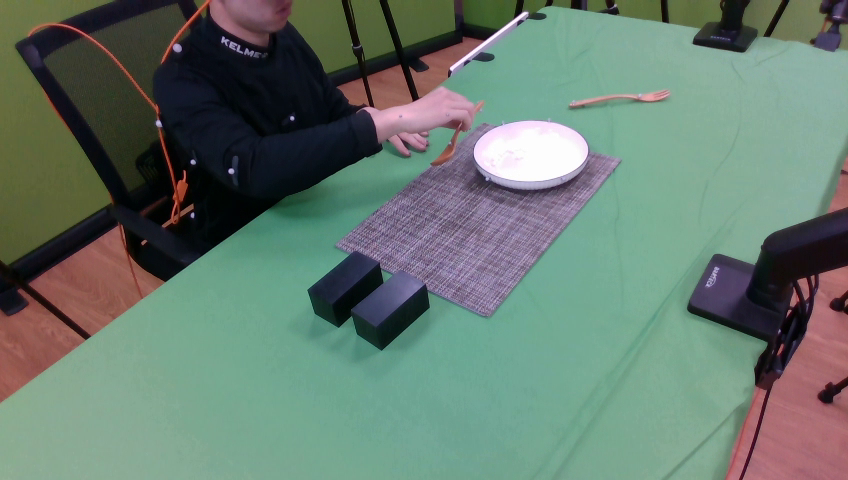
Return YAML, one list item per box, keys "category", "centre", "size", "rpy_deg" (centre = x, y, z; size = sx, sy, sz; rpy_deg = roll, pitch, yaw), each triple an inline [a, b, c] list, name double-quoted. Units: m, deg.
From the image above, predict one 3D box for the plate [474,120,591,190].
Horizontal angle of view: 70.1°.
- category: "plate"
  centre: [0.196, -0.151, 1.099]
  size: [0.207, 0.039, 0.206]
  rpy_deg: [-4, 40, 4]

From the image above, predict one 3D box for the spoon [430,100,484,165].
- category: "spoon"
  centre: [0.063, -0.192, 1.062]
  size: [0.041, 0.022, 0.193]
  rpy_deg: [-17, 34, 50]

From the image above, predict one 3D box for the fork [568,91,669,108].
- category: "fork"
  centre: [0.402, -0.290, 1.252]
  size: [0.207, 0.019, 0.028]
  rpy_deg: [-4, 47, 1]
